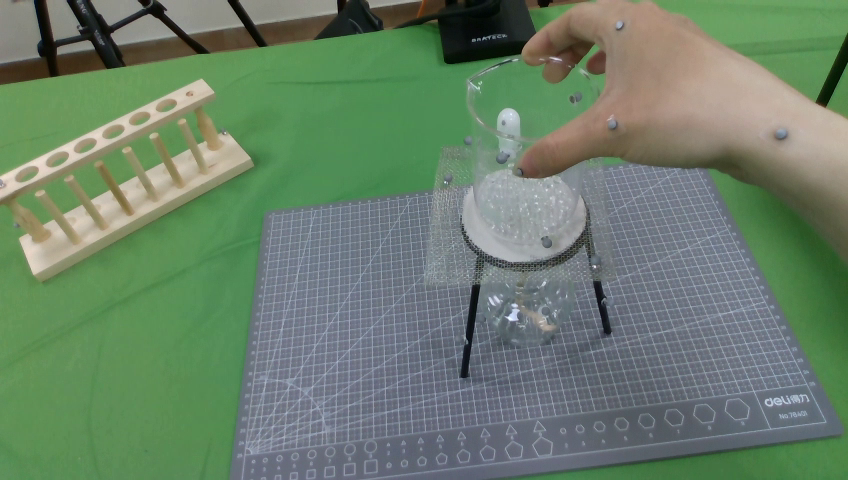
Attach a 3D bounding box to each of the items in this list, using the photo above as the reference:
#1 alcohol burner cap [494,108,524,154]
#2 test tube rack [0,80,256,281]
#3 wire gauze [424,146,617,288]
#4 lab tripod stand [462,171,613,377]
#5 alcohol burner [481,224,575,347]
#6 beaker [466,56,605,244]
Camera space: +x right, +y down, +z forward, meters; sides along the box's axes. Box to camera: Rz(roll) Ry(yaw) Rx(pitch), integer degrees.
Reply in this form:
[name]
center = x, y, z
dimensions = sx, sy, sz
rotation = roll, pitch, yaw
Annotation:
[alcohol burner cap]
center = 0.091, -0.119, 0.648
dimensions = 0.034, 0.048, 0.033
rotation = -4, 51, 6
[test tube rack]
center = -0.310, -0.066, 0.631
dimensions = 0.242, 0.086, 0.066
rotation = -33, 54, -18
[wire gauze]
center = 0.066, -0.020, 0.417
dimensions = 0.121, 0.011, 0.124
rotation = 1, 55, 8
[lab tripod stand]
center = 0.077, 0.027, 0.466
dimensions = 0.148, 0.133, 0.147
rotation = -4, 52, 5
[alcohol burner]
center = 0.080, 0.032, 0.474
dimensions = 0.078, 0.120, 0.077
rotation = -5, 48, 6
[beaker]
center = 0.063, -0.052, 0.379
dimensions = 0.083, 0.101, 0.074
rotation = 27, 60, 24
